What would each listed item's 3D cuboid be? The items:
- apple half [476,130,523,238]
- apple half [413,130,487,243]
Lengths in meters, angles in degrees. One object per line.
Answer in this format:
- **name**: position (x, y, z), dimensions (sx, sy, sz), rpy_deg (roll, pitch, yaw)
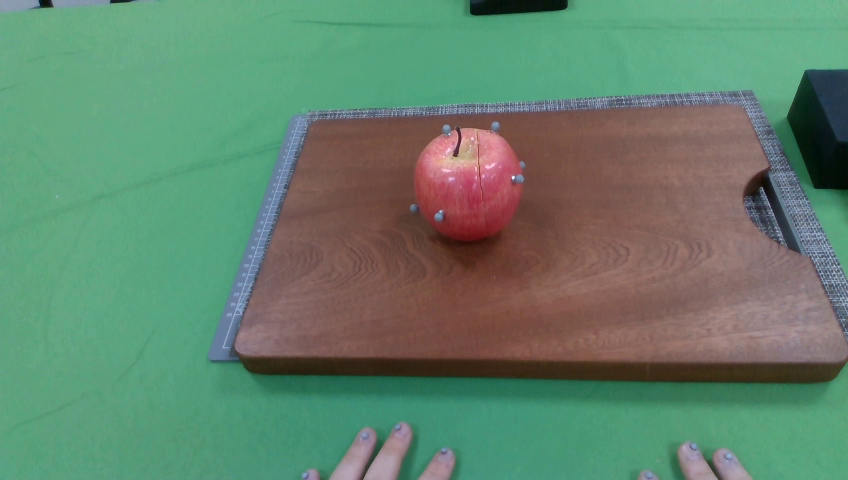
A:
- **apple half**: position (0.058, -0.041, 0.451), dimensions (0.033, 0.082, 0.080), rpy_deg (-7, 47, 7)
- **apple half**: position (0.019, -0.038, 0.455), dimensions (0.053, 0.075, 0.080), rpy_deg (-6, 51, 8)
